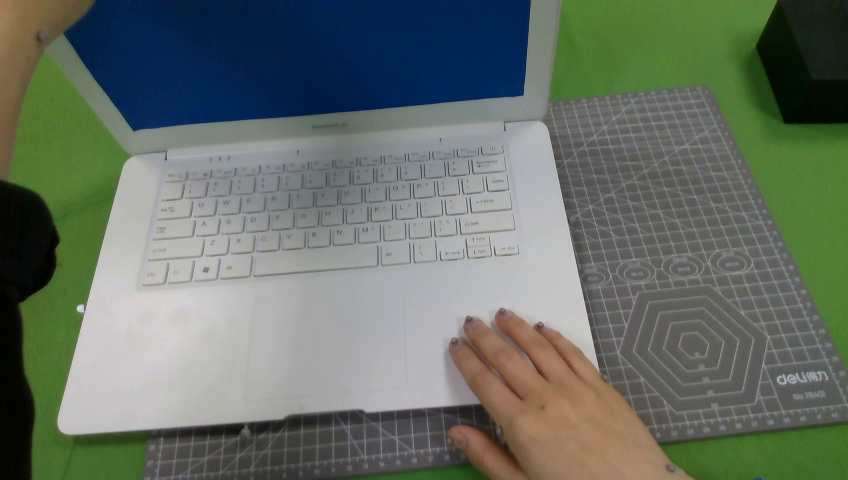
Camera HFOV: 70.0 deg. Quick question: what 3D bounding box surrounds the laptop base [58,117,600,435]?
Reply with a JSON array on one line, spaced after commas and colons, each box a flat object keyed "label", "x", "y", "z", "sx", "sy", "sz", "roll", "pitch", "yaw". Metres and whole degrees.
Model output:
[{"label": "laptop base", "x": -0.069, "y": 0.015, "z": 0.449, "sx": 0.354, "sy": 0.023, "sz": 0.233, "roll": -5, "pitch": 60, "yaw": 2}]

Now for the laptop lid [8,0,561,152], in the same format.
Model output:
[{"label": "laptop lid", "x": -0.083, "y": -0.147, "z": 0.409, "sx": 0.357, "sy": 0.244, "sz": 0.013, "roll": -6, "pitch": 59, "yaw": 3}]
